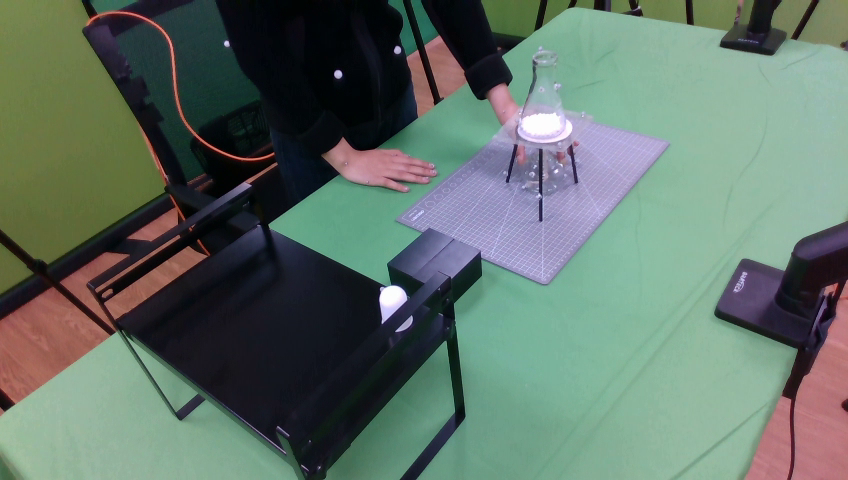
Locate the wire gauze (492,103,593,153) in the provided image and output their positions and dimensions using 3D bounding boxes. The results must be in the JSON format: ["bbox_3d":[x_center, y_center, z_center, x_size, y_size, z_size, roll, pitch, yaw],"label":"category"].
[{"bbox_3d":[0.190,-0.179,0.965,0.120,0.011,0.125,17,49,29],"label":"wire gauze"}]

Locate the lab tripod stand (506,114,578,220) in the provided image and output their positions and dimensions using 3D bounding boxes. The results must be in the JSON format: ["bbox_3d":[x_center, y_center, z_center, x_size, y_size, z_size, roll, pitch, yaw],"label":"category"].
[{"bbox_3d":[0.198,-0.127,1.005,0.148,0.132,0.147,-3,41,3],"label":"lab tripod stand"}]

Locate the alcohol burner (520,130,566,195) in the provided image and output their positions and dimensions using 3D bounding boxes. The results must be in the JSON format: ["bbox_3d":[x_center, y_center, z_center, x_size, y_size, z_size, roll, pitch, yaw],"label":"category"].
[{"bbox_3d":[0.203,-0.137,1.031,0.078,0.119,0.077,-5,42,5],"label":"alcohol burner"}]

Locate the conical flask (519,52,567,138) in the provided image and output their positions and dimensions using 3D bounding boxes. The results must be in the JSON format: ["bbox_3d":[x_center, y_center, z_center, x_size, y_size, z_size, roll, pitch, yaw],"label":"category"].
[{"bbox_3d":[0.183,-0.223,0.926,0.075,0.122,0.075,-4,41,4],"label":"conical flask"}]

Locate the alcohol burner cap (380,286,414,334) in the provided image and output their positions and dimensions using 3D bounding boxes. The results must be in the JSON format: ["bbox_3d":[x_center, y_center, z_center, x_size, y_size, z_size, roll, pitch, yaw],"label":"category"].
[{"bbox_3d":[-0.029,0.068,0.605,0.034,0.048,0.033,-5,39,4],"label":"alcohol burner cap"}]
